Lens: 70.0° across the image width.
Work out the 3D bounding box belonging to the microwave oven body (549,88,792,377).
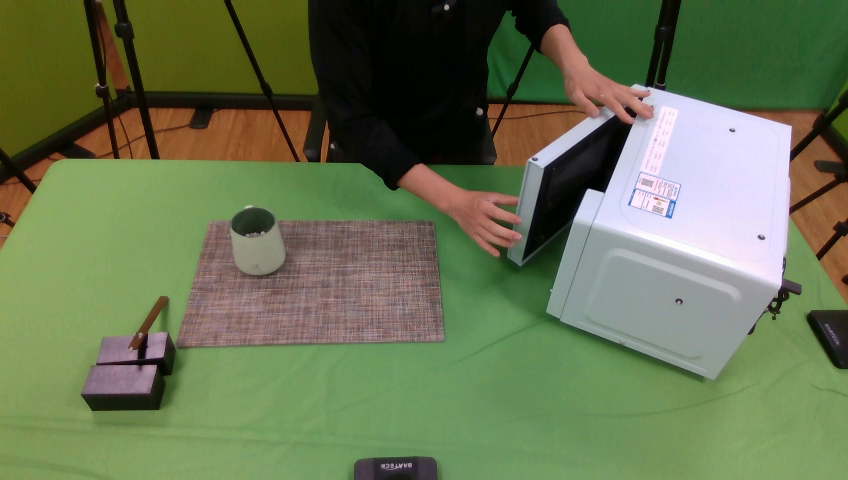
[{"bbox_3d":[0.456,-0.028,1.088,0.325,0.261,0.440,20,47,16],"label":"microwave oven body"}]

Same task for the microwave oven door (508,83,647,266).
[{"bbox_3d":[0.300,-0.131,1.167,0.039,0.245,0.355,35,54,28],"label":"microwave oven door"}]

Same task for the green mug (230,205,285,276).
[{"bbox_3d":[-0.311,-0.008,1.118,0.092,0.105,0.124,-14,49,-16],"label":"green mug"}]

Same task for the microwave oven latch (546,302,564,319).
[{"bbox_3d":[0.242,0.102,1.081,0.030,0.029,0.079,22,48,17],"label":"microwave oven latch"}]

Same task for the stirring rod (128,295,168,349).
[{"bbox_3d":[-0.451,0.131,0.996,0.014,0.006,0.175,9,21,-10],"label":"stirring rod"}]
